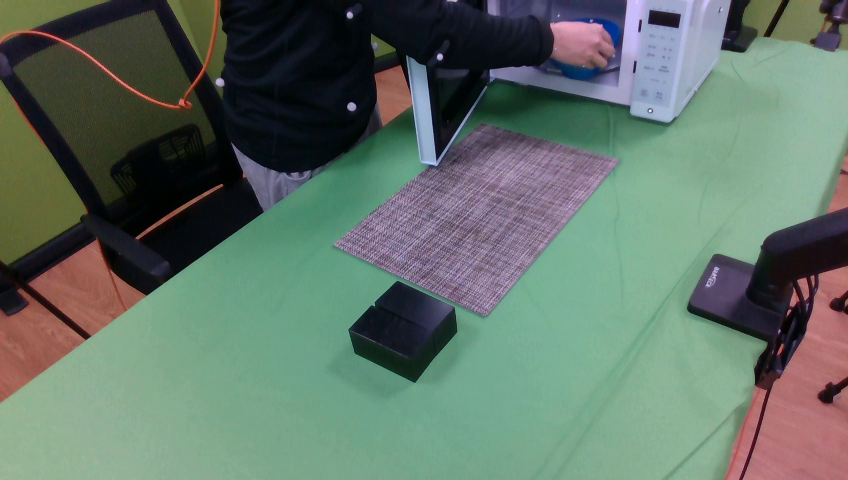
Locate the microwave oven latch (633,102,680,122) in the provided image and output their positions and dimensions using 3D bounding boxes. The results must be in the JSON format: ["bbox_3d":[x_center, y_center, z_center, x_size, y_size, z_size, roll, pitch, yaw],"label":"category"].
[{"bbox_3d":[0.443,-0.249,1.157,0.078,0.029,0.030,22,49,30],"label":"microwave oven latch"}]

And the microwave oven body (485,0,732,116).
[{"bbox_3d":[0.377,-0.463,1.267,0.438,0.261,0.327,21,49,30],"label":"microwave oven body"}]

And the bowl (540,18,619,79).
[{"bbox_3d":[0.310,-0.375,1.206,0.151,0.077,0.150,-7,41,7],"label":"bowl"}]

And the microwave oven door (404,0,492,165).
[{"bbox_3d":[0.058,-0.343,1.165,0.039,0.245,0.355,10,43,20],"label":"microwave oven door"}]
